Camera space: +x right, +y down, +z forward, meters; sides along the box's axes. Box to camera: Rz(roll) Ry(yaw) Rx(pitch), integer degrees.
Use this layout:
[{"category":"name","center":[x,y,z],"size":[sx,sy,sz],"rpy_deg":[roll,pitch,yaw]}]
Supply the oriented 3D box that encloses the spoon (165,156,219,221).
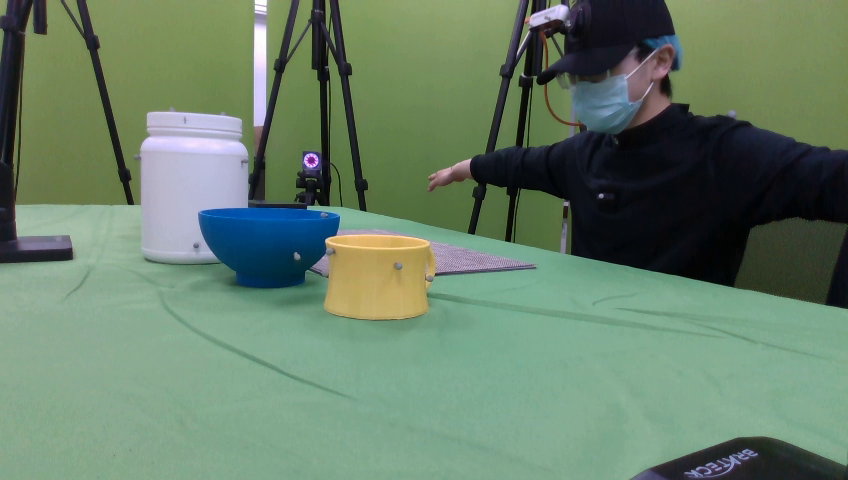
[{"category":"spoon","center":[-0.451,-0.105,1.193],"size":[0.041,0.022,0.193],"rpy_deg":[5,51,17]}]

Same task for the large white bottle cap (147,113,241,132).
[{"category":"large white bottle cap","center":[-0.297,-0.151,0.786],"size":[0.115,0.018,0.115],"rpy_deg":[2,7,0]}]

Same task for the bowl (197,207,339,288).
[{"category":"bowl","center":[-0.171,0.008,0.671],"size":[0.151,0.077,0.151],"rpy_deg":[2,7,0]}]

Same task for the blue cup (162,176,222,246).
[{"category":"blue cup","center":[-0.356,-0.045,0.929],"size":[0.093,0.100,0.092],"rpy_deg":[4,8,0]}]

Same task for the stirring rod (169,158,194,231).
[{"category":"stirring rod","center":[-0.424,-0.082,1.060],"size":[0.014,0.006,0.175],"rpy_deg":[2,50,-10]}]

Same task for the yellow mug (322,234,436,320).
[{"category":"yellow mug","center":[-0.035,0.031,0.581],"size":[0.099,0.064,0.131],"rpy_deg":[9,9,42]}]

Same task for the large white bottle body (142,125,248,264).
[{"category":"large white bottle body","center":[-0.300,-0.068,0.797],"size":[0.131,0.184,0.130],"rpy_deg":[2,7,0]}]
